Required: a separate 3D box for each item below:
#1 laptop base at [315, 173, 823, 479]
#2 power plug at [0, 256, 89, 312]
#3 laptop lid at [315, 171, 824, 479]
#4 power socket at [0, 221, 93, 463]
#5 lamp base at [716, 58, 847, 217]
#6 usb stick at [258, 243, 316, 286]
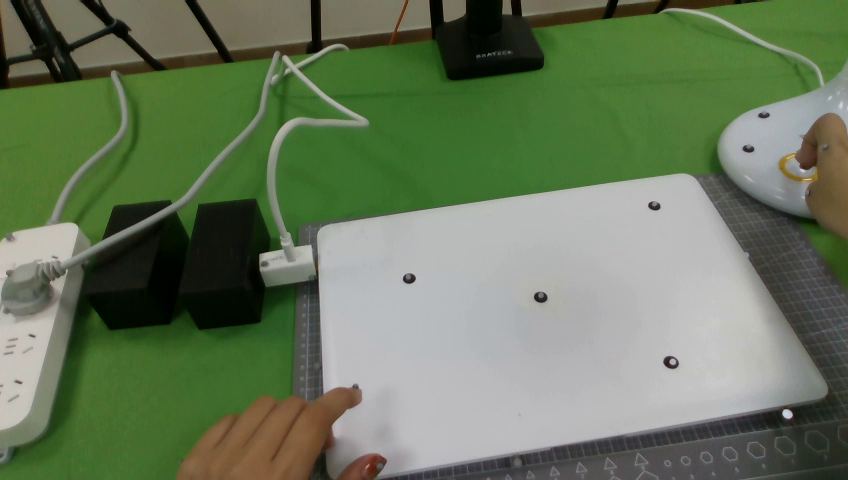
[{"bbox_3d":[0.093,0.053,0.490,0.355,0.023,0.233,-8,52,-4],"label":"laptop base"},{"bbox_3d":[-0.302,0.042,0.486,0.072,0.053,0.035,-1,48,2],"label":"power plug"},{"bbox_3d":[0.092,0.047,0.480,0.357,0.013,0.239,-7,50,-3],"label":"laptop lid"},{"bbox_3d":[-0.328,0.069,0.495,0.072,0.033,0.224,-9,47,-6],"label":"power socket"},{"bbox_3d":[0.370,-0.141,0.538,0.159,0.182,0.178,22,49,23],"label":"lamp base"},{"bbox_3d":[-0.109,0.020,0.516,0.059,0.027,0.021,-8,47,-9],"label":"usb stick"}]
